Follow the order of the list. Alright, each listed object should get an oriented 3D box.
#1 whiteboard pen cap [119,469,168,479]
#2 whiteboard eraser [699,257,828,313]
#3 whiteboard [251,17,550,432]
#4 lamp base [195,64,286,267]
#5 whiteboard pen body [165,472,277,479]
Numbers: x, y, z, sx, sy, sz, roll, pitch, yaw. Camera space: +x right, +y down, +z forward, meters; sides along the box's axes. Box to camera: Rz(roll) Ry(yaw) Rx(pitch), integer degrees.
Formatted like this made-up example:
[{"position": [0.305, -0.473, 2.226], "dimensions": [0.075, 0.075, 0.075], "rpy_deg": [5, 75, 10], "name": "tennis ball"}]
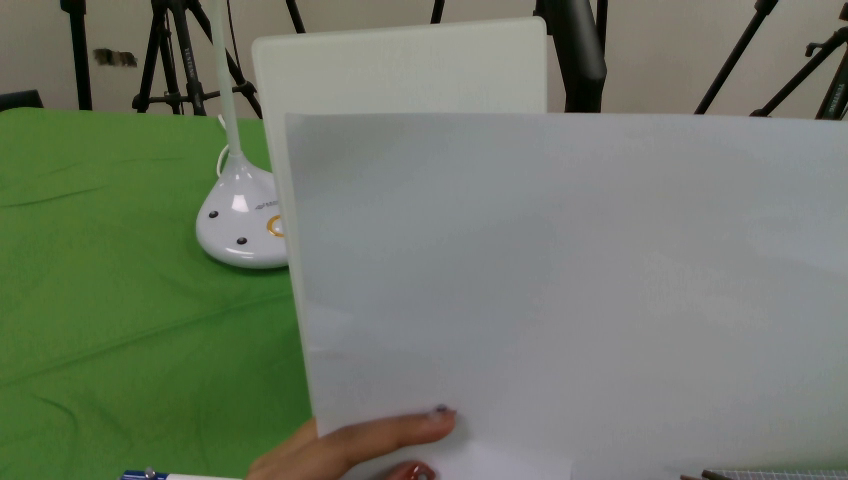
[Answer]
[{"position": [-0.201, 0.175, 0.438], "dimensions": [0.033, 0.018, 0.018], "rpy_deg": [4, 37, -3], "name": "whiteboard pen cap"}, {"position": [0.352, 0.047, 0.631], "dimensions": [0.113, 0.042, 0.055], "rpy_deg": [-2, 39, -7], "name": "whiteboard eraser"}, {"position": [-0.019, -0.025, 0.535], "dimensions": [0.218, 0.307, 0.142], "rpy_deg": [-10, 20, -15], "name": "whiteboard"}, {"position": [-0.186, -0.088, 0.660], "dimensions": [0.177, 0.182, 0.161], "rpy_deg": [30, 45, 34], "name": "lamp base"}, {"position": [-0.142, 0.180, 0.439], "dimensions": [0.141, 0.017, 0.017], "rpy_deg": [5, 37, -1], "name": "whiteboard pen body"}]
